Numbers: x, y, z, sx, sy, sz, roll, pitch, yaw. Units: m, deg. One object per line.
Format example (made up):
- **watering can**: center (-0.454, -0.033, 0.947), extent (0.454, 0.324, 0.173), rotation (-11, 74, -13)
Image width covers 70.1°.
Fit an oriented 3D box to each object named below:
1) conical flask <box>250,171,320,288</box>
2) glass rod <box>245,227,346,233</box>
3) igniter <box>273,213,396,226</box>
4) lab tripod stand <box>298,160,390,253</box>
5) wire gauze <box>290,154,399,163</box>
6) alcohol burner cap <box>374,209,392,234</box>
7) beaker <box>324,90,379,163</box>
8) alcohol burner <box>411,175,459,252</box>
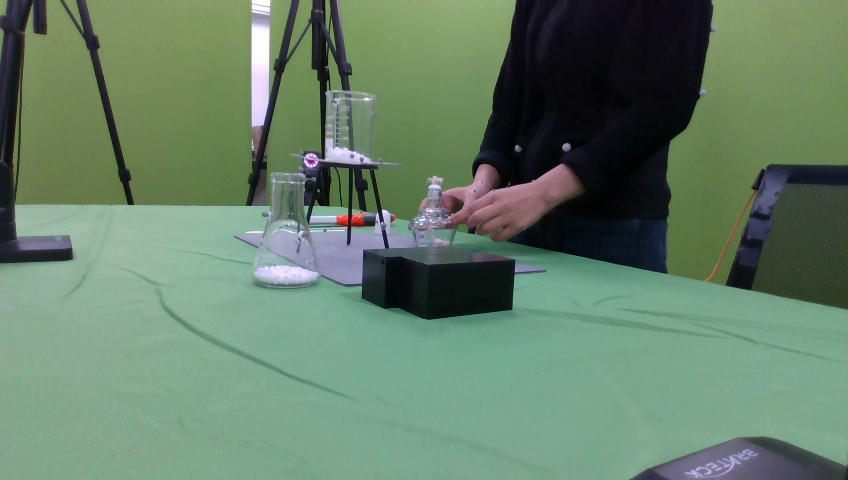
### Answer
- **conical flask**: center (-0.150, -0.013, 0.658), extent (0.075, 0.122, 0.075), rotation (2, 7, 0)
- **glass rod**: center (-0.236, -0.021, 1.140), extent (0.201, 0.008, 0.008), rotation (-3, 8, -33)
- **igniter**: center (-0.179, -0.044, 1.258), extent (0.278, 0.025, 0.057), rotation (-3, -1, -39)
- **lab tripod stand**: center (-0.111, -0.050, 0.893), extent (0.148, 0.131, 0.148), rotation (4, 6, 0)
- **wire gauze**: center (-0.112, -0.114, 0.883), extent (0.124, 0.011, 0.122), rotation (5, 5, 28)
- **alcohol burner cap**: center (-0.078, -0.036, 1.148), extent (0.034, 0.048, 0.034), rotation (2, 8, 0)
- **beaker**: center (-0.110, -0.162, 0.879), extent (0.083, 0.100, 0.074), rotation (8, 7, 36)
- **alcohol burner**: center (0.018, -0.042, 0.955), extent (0.078, 0.119, 0.078), rotation (1, 7, 0)
